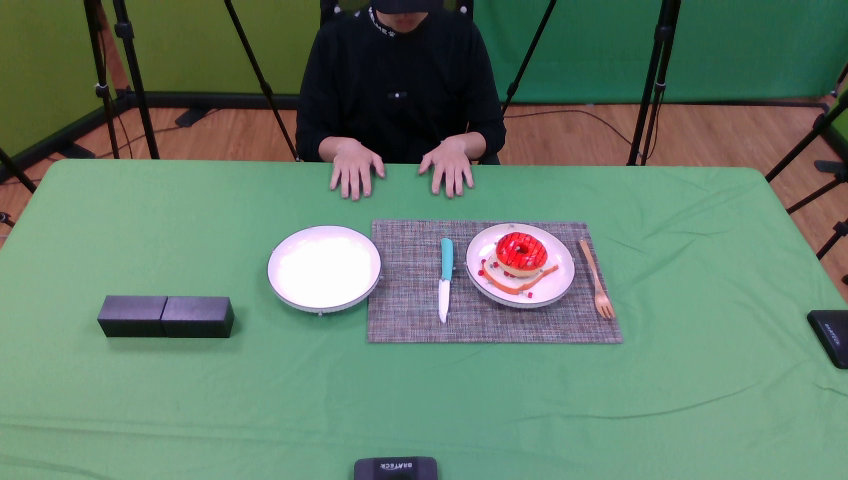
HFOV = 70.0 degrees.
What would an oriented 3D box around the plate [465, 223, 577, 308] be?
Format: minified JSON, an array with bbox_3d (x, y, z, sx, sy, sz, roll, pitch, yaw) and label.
[{"bbox_3d":[0.180,0.051,1.144,0.209,0.038,0.208,2,45,-2],"label":"plate"}]

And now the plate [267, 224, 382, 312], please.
[{"bbox_3d":[-0.181,0.055,1.120,0.208,0.039,0.206,2,46,-2],"label":"plate"}]

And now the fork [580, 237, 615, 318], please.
[{"bbox_3d":[0.325,0.067,1.151,0.028,0.019,0.206,-6,48,1],"label":"fork"}]

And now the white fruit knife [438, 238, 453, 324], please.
[{"bbox_3d":[0.040,0.073,1.131,0.027,0.016,0.206,-17,44,21],"label":"white fruit knife"}]

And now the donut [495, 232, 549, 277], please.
[{"bbox_3d":[0.180,0.026,1.119,0.099,0.048,0.098,2,46,-2],"label":"donut"}]

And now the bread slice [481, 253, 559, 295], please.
[{"bbox_3d":[0.177,0.050,1.148,0.131,0.019,0.104,-32,55,-31],"label":"bread slice"}]
